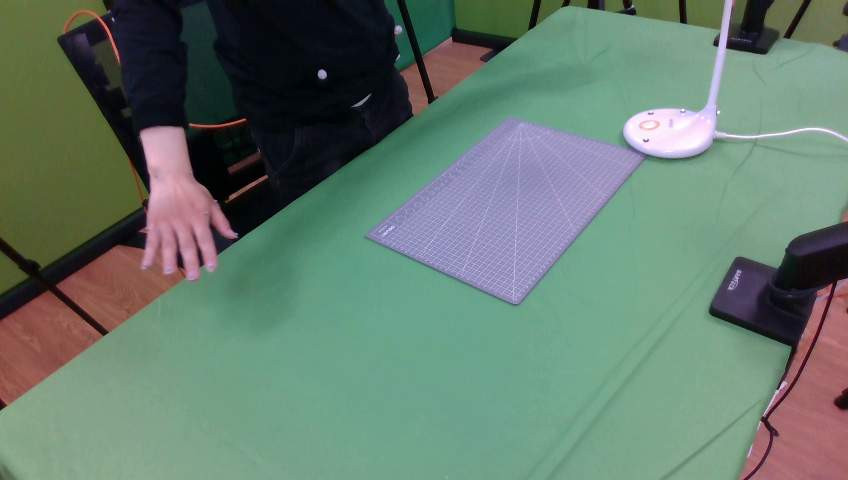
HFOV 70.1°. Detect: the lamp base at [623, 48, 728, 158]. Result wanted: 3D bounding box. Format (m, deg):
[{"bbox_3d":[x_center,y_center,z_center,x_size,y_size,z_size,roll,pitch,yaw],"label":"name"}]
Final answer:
[{"bbox_3d":[0.462,-0.261,1.084,0.179,0.181,0.160,3,42,7],"label":"lamp base"}]
